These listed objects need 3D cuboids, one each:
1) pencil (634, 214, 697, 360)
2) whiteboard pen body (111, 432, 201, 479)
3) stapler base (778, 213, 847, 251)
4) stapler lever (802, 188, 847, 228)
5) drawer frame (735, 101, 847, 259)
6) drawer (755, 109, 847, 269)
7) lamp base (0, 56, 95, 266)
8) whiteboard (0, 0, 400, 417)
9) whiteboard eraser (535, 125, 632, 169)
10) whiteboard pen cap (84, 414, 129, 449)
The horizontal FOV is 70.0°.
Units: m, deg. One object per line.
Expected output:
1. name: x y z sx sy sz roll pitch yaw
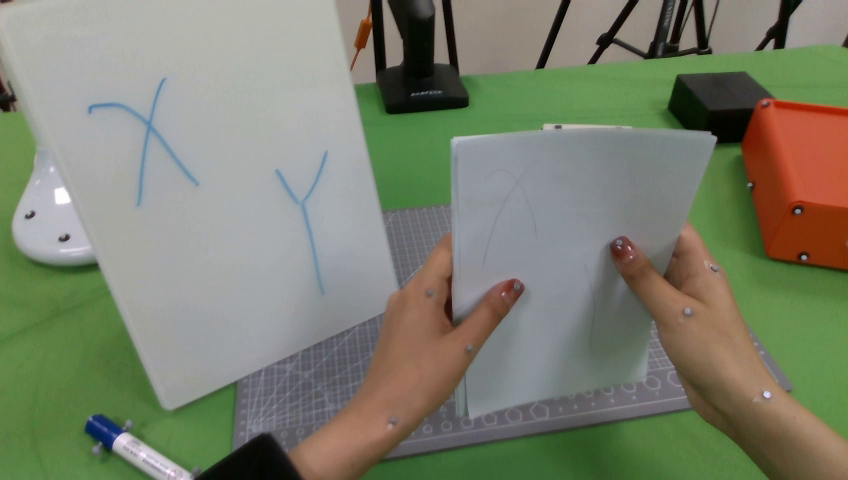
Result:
1. pencil: 0.233 0.039 0.588 0.012 0.012 0.192 0 42 0
2. whiteboard pen body: -0.189 0.164 0.435 0.140 0.017 0.017 19 44 22
3. stapler base: 0.439 -0.010 0.624 0.130 0.024 0.041 8 55 8
4. stapler lever: 0.440 -0.026 0.603 0.118 0.040 0.026 8 55 7
5. drawer frame: 0.462 -0.059 0.653 0.201 0.083 0.212 8 41 10
6. drawer: 0.462 -0.056 0.651 0.194 0.074 0.210 9 41 11
7. lamp base: -0.367 -0.091 0.608 0.178 0.182 0.160 20 44 25
8. whiteboard: -0.173 -0.053 0.514 0.217 0.307 0.142 -23 26 -23
9. whiteboard eraser: 0.195 -0.114 0.748 0.112 0.042 0.055 4 42 3
10. whiteboard pen cap: -0.239 0.145 0.458 0.033 0.018 0.018 19 44 24
